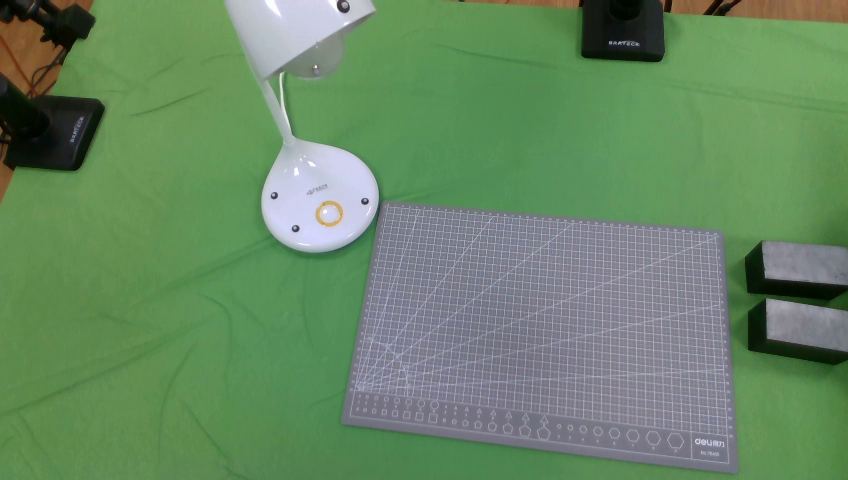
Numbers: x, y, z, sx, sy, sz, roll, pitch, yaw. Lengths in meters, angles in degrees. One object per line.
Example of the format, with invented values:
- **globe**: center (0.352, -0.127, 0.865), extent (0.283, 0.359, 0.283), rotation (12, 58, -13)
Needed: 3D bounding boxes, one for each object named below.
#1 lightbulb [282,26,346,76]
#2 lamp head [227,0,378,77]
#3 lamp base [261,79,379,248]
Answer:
- **lightbulb**: center (-0.104, -0.186, 0.490), extent (0.059, 0.059, 0.108), rotation (-29, 108, -9)
- **lamp head**: center (-0.115, -0.209, 0.488), extent (0.112, 0.112, 0.123), rotation (-37, 103, -12)
- **lamp base**: center (-0.154, -0.104, 0.760), extent (0.160, 0.182, 0.177), rotation (-34, 66, -11)
